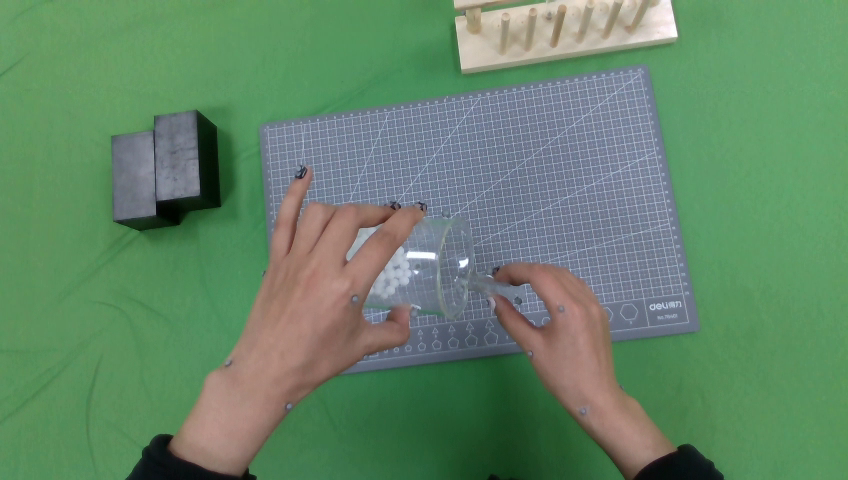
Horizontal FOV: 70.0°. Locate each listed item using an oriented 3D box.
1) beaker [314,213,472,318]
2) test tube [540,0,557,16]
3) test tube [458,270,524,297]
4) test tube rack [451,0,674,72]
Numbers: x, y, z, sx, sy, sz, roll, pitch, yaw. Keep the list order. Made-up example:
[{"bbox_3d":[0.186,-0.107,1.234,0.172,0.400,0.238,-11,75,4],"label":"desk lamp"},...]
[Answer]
[{"bbox_3d":[-0.022,0.017,0.451,0.100,0.085,0.073,4,74,22],"label":"beaker"},{"bbox_3d":[0.135,-0.275,0.616,0.017,0.151,0.017,-1,76,3],"label":"test tube"},{"bbox_3d":[0.064,0.040,0.537,0.017,0.151,0.017,-3,81,24],"label":"test tube"},{"bbox_3d":[0.152,-0.250,0.660,0.242,0.085,0.066,-7,79,5],"label":"test tube rack"}]
